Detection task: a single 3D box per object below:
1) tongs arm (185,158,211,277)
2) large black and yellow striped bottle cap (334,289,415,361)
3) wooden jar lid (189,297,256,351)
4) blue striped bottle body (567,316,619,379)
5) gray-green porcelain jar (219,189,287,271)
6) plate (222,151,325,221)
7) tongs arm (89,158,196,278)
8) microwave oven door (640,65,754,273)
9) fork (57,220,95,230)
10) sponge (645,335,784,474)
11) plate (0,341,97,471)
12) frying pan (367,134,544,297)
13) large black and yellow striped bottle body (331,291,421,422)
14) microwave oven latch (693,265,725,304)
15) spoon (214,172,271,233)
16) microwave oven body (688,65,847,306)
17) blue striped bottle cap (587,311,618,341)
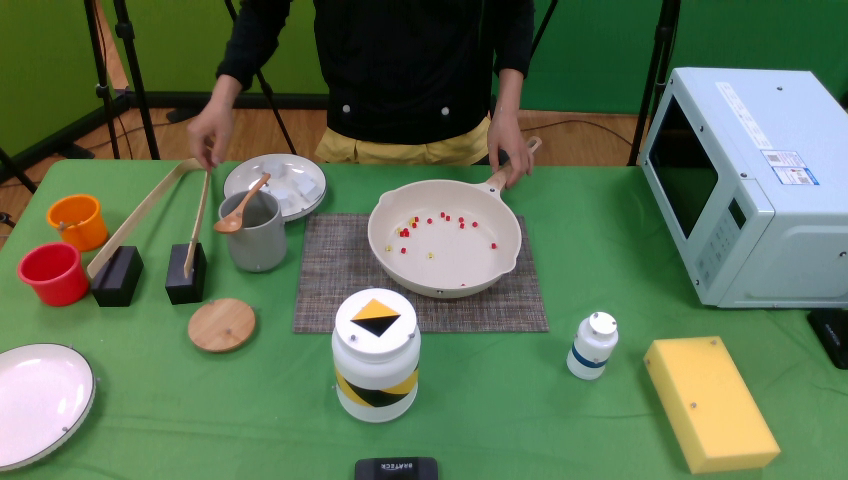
[{"bbox_3d":[-0.447,-0.057,1.168,0.051,0.026,0.382,-5,37,-6],"label":"tongs arm"},{"bbox_3d":[-0.069,0.117,0.850,0.115,0.019,0.114,2,45,-2],"label":"large black and yellow striped bottle cap"},{"bbox_3d":[-0.342,0.145,1.033,0.108,0.021,0.107,2,45,-2],"label":"wooden jar lid"},{"bbox_3d":[0.276,0.168,0.984,0.063,0.121,0.062,2,46,-2],"label":"blue striped bottle body"},{"bbox_3d":[-0.310,-0.014,1.113,0.106,0.127,0.105,2,46,-2],"label":"gray-green porcelain jar"},{"bbox_3d":[-0.310,-0.106,1.262,0.208,0.039,0.206,2,47,-2],"label":"plate"},{"bbox_3d":[-0.530,-0.057,1.163,0.028,0.028,0.385,1,36,7],"label":"tongs arm"},{"bbox_3d":[0.523,-0.147,1.193,0.039,0.245,0.353,0,47,-3],"label":"microwave oven door"},{"bbox_3d":[-0.624,-0.027,1.086,0.028,0.207,0.018,-2,92,-17],"label":"fork"},{"bbox_3d":[0.449,0.253,0.956,0.118,0.061,0.205,-4,46,-7],"label":"sponge"},{"bbox_3d":[-0.599,0.247,0.904,0.209,0.038,0.208,2,47,-2],"label":"plate"},{"bbox_3d":[0.104,-0.069,1.205,0.305,0.103,0.487,32,61,23],"label":"frying pan"},{"bbox_3d":[-0.071,0.175,0.911,0.131,0.185,0.130,2,47,-2],"label":"large black and yellow striped bottle body"},{"bbox_3d":[0.523,0.081,1.116,0.030,0.029,0.078,2,46,-1],"label":"microwave oven latch"},{"bbox_3d":[-0.312,-0.070,1.070,0.041,0.022,0.193,12,43,8],"label":"spoon"},{"bbox_3d":[0.669,-0.111,1.176,0.326,0.261,0.439,0,46,-3],"label":"microwave oven body"},{"bbox_3d":[0.279,0.134,0.946,0.044,0.021,0.044,2,45,-2],"label":"blue striped bottle cap"}]
